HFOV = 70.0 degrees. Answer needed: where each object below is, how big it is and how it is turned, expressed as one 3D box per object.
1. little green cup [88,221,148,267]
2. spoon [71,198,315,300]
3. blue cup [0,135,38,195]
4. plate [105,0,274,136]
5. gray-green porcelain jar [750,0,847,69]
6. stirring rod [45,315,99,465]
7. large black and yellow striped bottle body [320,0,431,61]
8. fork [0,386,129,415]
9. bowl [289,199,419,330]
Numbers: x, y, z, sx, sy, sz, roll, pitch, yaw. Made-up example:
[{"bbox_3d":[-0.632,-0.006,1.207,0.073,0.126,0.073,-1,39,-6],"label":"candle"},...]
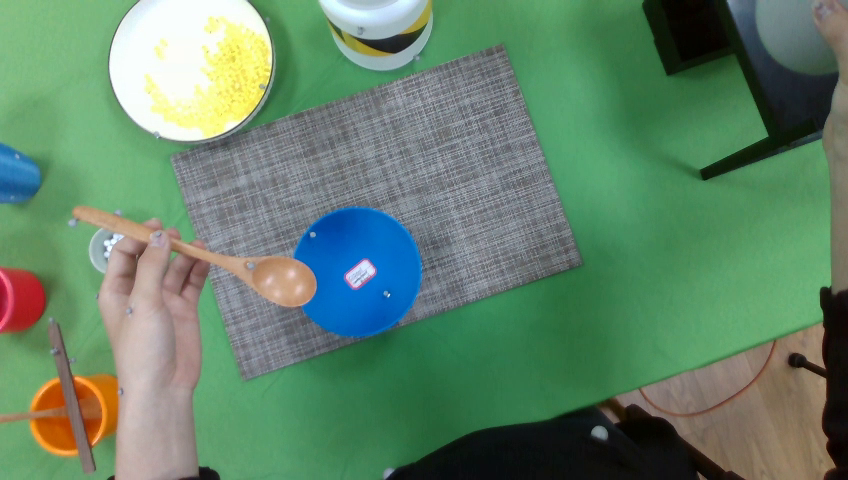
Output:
[{"bbox_3d":[-0.377,0.003,0.752,0.061,0.038,0.061,0,88,1],"label":"little green cup"},{"bbox_3d":[-0.182,0.004,0.489,0.195,0.021,0.041,22,95,-19],"label":"spoon"},{"bbox_3d":[-0.524,-0.092,0.727,0.092,0.100,0.092,0,88,2],"label":"blue cup"},{"bbox_3d":[-0.291,-0.231,0.763,0.209,0.038,0.209,0,87,0],"label":"plate"},{"bbox_3d":[0.315,-0.187,0.440,0.106,0.126,0.106,0,93,-6],"label":"gray-green porcelain jar"},{"bbox_3d":[-0.399,0.169,0.686,0.014,0.006,0.176,-18,87,1],"label":"stirring rod"},{"bbox_3d":[-0.058,-0.297,0.691,0.131,0.184,0.130,0,87,1],"label":"large black and yellow striped bottle body"},{"bbox_3d":[-0.449,0.190,0.688,0.209,0.018,0.028,4,88,-43],"label":"fork"},{"bbox_3d":[-0.079,0.029,0.724,0.151,0.077,0.151,0,87,1],"label":"bowl"}]
